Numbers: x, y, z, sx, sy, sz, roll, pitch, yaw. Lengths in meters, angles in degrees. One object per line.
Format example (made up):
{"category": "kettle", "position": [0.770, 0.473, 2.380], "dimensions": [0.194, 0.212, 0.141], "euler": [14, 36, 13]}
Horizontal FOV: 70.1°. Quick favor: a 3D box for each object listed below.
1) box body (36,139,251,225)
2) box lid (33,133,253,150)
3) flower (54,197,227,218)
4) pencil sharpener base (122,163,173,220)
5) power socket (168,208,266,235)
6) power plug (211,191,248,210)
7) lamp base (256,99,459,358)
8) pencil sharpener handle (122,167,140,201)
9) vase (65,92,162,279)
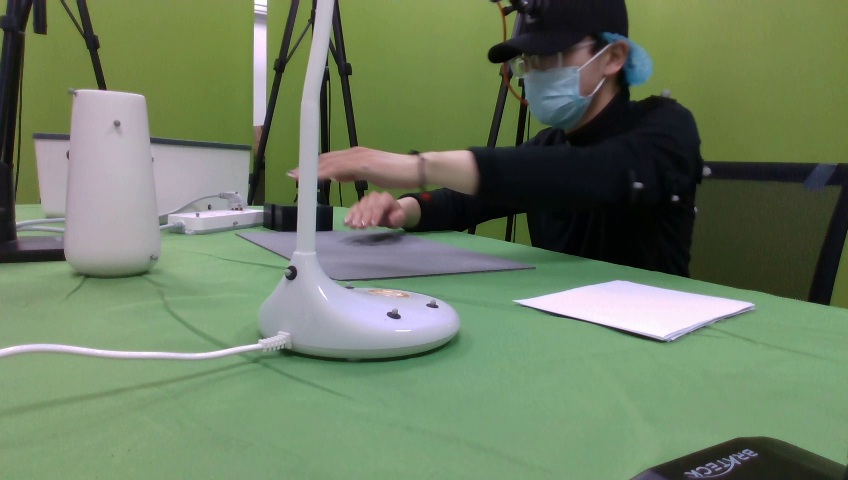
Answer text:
{"category": "box body", "position": [-0.558, -0.127, 1.257], "dimensions": [0.253, 0.160, 0.365], "euler": [4, 8, 15]}
{"category": "box lid", "position": [-0.555, -0.199, 1.249], "dimensions": [0.263, 0.015, 0.372], "euler": [5, 8, 15]}
{"category": "flower", "position": [-0.573, -0.058, 1.266], "dimensions": [0.044, 0.038, 0.364], "euler": [36, 21, 33]}
{"category": "pencil sharpener base", "position": [-0.539, -0.095, 1.174], "dimensions": [0.076, 0.107, 0.061], "euler": [4, 7, 21]}
{"category": "power socket", "position": [-0.379, -0.038, 1.129], "dimensions": [0.072, 0.032, 0.227], "euler": [4, 8, 18]}
{"category": "power plug", "position": [-0.384, -0.071, 1.205], "dimensions": [0.072, 0.052, 0.035], "euler": [1, 9, 28]}
{"category": "lamp base", "position": [-0.055, -0.013, 0.463], "dimensions": [0.160, 0.180, 0.180], "euler": [6, 11, 27]}
{"category": "pencil sharpener handle", "position": [-0.585, -0.111, 1.193], "dimensions": [0.030, 0.068, 0.036], "euler": [4, 14, 21]}
{"category": "vase", "position": [-0.347, -0.060, 0.673], "dimensions": [0.098, 0.200, 0.098], "euler": [1, 7, 0]}
